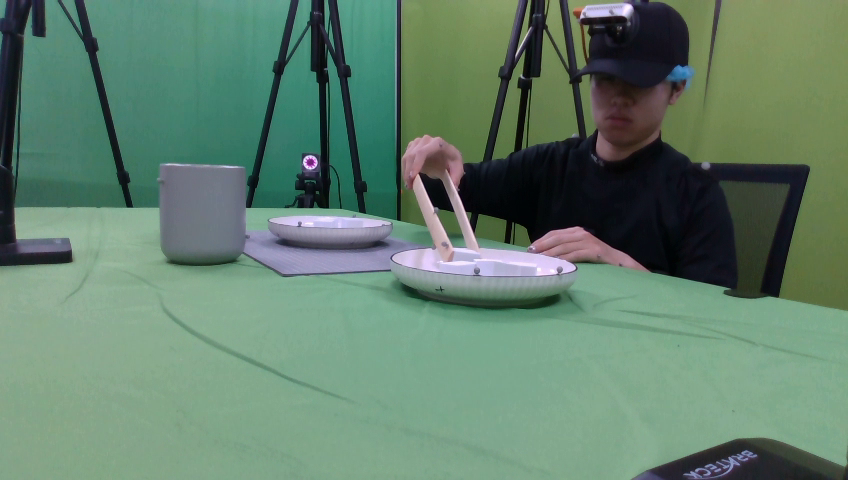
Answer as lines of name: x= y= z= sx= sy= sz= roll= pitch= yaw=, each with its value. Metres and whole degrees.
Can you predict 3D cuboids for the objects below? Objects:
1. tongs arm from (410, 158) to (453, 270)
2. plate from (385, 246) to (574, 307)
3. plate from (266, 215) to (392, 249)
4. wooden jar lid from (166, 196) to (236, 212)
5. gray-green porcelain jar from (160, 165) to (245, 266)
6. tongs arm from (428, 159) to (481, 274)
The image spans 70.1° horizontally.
tongs arm: x=0.017 y=-0.051 z=0.843 sx=0.051 sy=0.026 sz=0.383 roll=5 pitch=22 yaw=-13
plate: x=0.060 y=0.041 z=0.678 sx=0.208 sy=0.039 sz=0.207 roll=3 pitch=7 yaw=0
plate: x=-0.159 y=-0.015 z=1.019 sx=0.209 sy=0.038 sz=0.209 roll=3 pitch=7 yaw=0
wooden jar lid: x=-0.369 y=-0.060 z=1.001 sx=0.108 sy=0.020 sz=0.108 roll=3 pitch=6 yaw=0
gray-green porcelain jar: x=-0.291 y=-0.034 z=0.799 sx=0.106 sy=0.126 sz=0.106 roll=2 pitch=8 yaw=0
tongs arm: x=0.040 y=-0.048 z=0.846 sx=0.028 sy=0.028 sz=0.386 roll=4 pitch=23 yaw=-7
